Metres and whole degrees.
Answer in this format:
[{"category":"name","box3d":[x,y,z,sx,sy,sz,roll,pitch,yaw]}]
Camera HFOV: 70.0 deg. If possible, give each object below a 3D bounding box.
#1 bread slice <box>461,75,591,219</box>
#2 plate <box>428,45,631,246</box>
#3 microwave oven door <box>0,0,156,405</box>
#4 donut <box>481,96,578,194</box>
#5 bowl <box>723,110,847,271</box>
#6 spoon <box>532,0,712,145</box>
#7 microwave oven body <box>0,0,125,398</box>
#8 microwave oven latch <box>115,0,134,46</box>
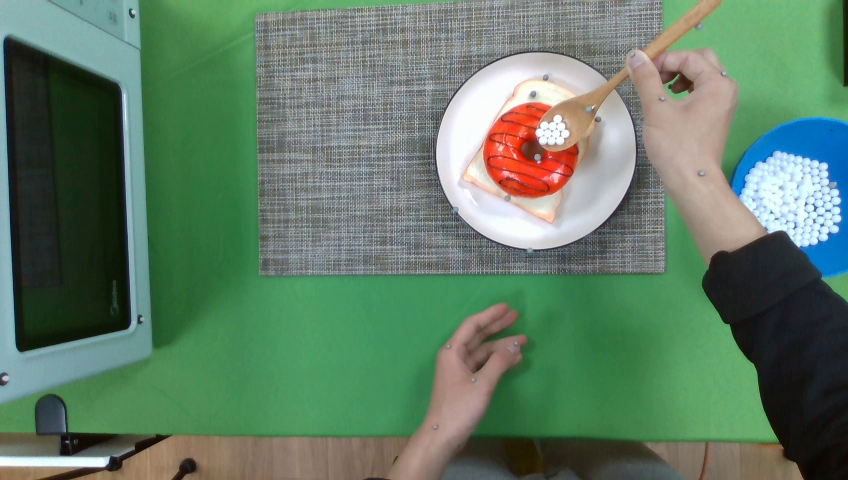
[{"category":"bread slice","box3d":[0.112,-0.105,0.644,0.107,0.018,0.134,24,95,6]},{"category":"plate","box3d":[0.109,-0.097,0.643,0.207,0.039,0.207,0,91,7]},{"category":"microwave oven door","box3d":[-0.350,-0.042,0.581,0.039,0.244,0.355,-3,90,7]},{"category":"donut","box3d":[0.106,-0.095,0.615,0.099,0.048,0.099,0,90,8]},{"category":"bowl","box3d":[0.363,-0.045,0.597,0.151,0.077,0.151,0,90,6]},{"category":"spoon","box3d":[0.169,-0.148,0.525,0.194,0.021,0.041,-39,84,41]},{"category":"microwave oven body","box3d":[-0.496,-0.076,0.603,0.326,0.260,0.441,-3,91,6]},{"category":"microwave oven latch","box3d":[-0.346,-0.260,0.680,0.030,0.029,0.079,-3,91,6]}]
